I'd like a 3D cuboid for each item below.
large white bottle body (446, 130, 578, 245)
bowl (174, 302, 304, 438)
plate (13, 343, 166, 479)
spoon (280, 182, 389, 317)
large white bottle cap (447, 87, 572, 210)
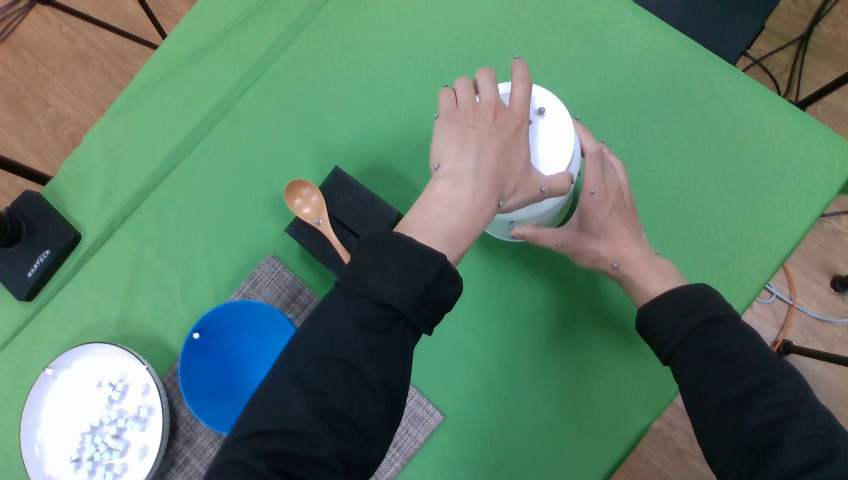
[{"bbox_3d":[0.094,-0.071,0.643,0.130,0.185,0.130,-2,80,10],"label":"large white bottle body"},{"bbox_3d":[-0.203,0.149,0.712,0.151,0.077,0.151,-2,81,10],"label":"bowl"},{"bbox_3d":[-0.411,0.234,0.757,0.209,0.038,0.208,-2,79,12],"label":"plate"},{"bbox_3d":[-0.102,0.012,0.702,0.041,0.022,0.193,-36,82,-3],"label":"spoon"},{"bbox_3d":[0.078,-0.085,0.559,0.114,0.018,0.114,-2,80,11],"label":"large white bottle cap"}]
